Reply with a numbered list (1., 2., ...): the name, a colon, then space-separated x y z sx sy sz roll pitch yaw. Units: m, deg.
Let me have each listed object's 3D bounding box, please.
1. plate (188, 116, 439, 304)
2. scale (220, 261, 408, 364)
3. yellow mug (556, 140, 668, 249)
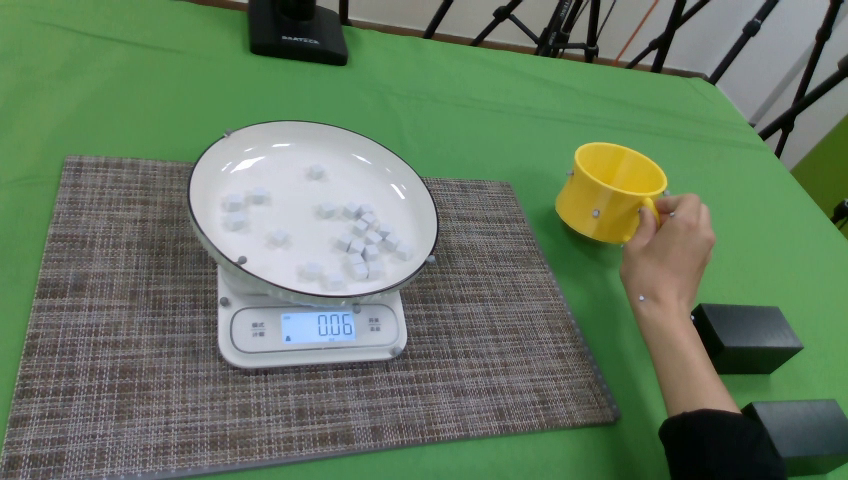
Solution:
1. plate: -0.091 -0.027 0.519 0.210 0.038 0.207 12 46 -12
2. scale: -0.099 0.012 0.526 0.149 0.032 0.198 1 49 -21
3. yellow mug: 0.208 -0.045 0.646 0.100 0.064 0.129 -7 44 -24
